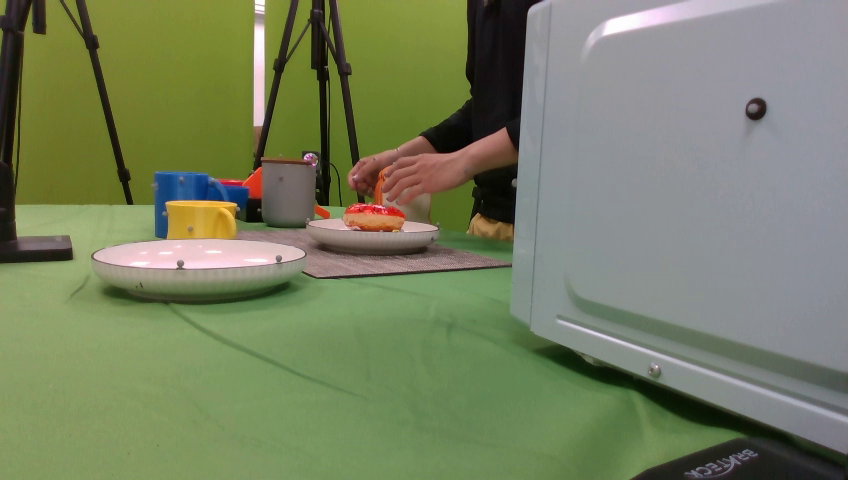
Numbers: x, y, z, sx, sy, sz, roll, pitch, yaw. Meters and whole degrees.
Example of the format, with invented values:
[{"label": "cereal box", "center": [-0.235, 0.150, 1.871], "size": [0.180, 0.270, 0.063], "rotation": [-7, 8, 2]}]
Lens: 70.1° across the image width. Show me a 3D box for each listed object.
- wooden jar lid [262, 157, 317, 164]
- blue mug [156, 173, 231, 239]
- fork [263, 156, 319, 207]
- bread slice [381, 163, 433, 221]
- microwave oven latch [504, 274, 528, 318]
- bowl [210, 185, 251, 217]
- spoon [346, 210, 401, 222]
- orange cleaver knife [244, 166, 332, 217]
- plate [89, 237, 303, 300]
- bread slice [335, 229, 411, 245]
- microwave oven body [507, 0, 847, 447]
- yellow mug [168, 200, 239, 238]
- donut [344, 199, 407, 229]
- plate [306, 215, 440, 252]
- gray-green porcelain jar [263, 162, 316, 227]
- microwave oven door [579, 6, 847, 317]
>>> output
[{"label": "wooden jar lid", "center": [-0.269, -0.154, 1.208], "size": [0.108, 0.020, 0.108], "rotation": [3, 4, 0]}, {"label": "blue mug", "center": [-0.381, -0.057, 1.004], "size": [0.117, 0.106, 0.082], "rotation": [0, 8, -12]}, {"label": "fork", "center": [-0.331, -0.144, 1.505], "size": [0.207, 0.018, 0.028], "rotation": [-42, -20, 22]}, {"label": "bread slice", "center": [-0.035, -0.076, 1.123], "size": [0.107, 0.134, 0.018], "rotation": [-3, -1, -26]}, {"label": "microwave oven latch", "center": [0.100, 0.041, 0.471], "size": [0.079, 0.029, 0.030], "rotation": [-1, 8, -28]}, {"label": "bowl", "center": [-0.408, -0.064, 1.155], "size": [0.151, 0.077, 0.151], "rotation": [2, 8, 0]}, {"label": "spoon", "center": [-0.121, -0.059, 1.400], "size": [0.042, 0.021, 0.192], "rotation": [-28, 25, -37]}, {"label": "orange cleaver knife", "center": [-0.301, -0.089, 1.351], "size": [0.212, 0.077, 0.012], "rotation": [32, -11, -34]}, {"label": "plate", "center": [-0.233, 0.029, 0.637], "size": [0.208, 0.039, 0.207], "rotation": [2, 7, 0]}, {"label": "bread slice", "center": [-0.074, -0.005, 0.938], "size": [0.105, 0.019, 0.131], "rotation": [-1, 4, -19]}, {"label": "microwave oven body", "center": [0.331, -0.042, 0.425], "size": [0.444, 0.260, 0.324], "rotation": [-2, 8, -31]}, {"label": "yellow mug", "center": [-0.320, -0.023, 0.904], "size": [0.130, 0.064, 0.100], "rotation": [9, 11, 36]}, {"label": "donut", "center": [-0.076, -0.039, 0.949], "size": [0.099, 0.048, 0.099], "rotation": [3, 4, 0]}, {"label": "plate", "center": [-0.079, -0.011, 0.950], "size": [0.209, 0.038, 0.209], "rotation": [2, 8, 0]}, {"label": "gray-green porcelain jar", "center": [-0.271, -0.092, 1.217], "size": [0.106, 0.126, 0.106], "rotation": [2, 7, 0]}, {"label": "microwave oven door", "center": [0.294, -0.067, 0.570], "size": [0.358, 0.243, 0.039], "rotation": [-3, 9, -31]}]
